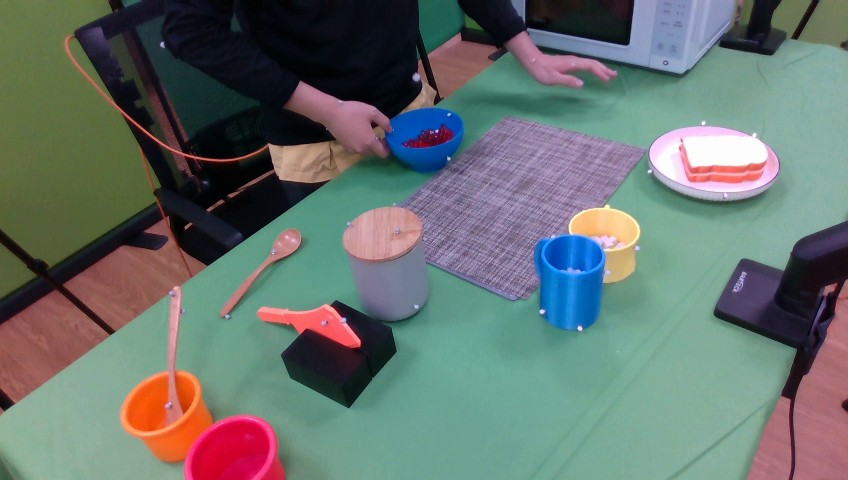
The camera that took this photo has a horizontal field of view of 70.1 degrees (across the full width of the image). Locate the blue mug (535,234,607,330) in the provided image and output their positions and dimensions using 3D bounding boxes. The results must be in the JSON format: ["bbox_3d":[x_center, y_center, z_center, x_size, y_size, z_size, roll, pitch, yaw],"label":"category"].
[{"bbox_3d":[0.191,0.048,0.824,0.082,0.106,0.115,-26,44,-21],"label":"blue mug"}]

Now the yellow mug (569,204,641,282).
[{"bbox_3d":[0.268,-0.005,0.904,0.099,0.064,0.130,7,42,15],"label":"yellow mug"}]

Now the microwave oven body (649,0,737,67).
[{"bbox_3d":[0.475,-0.602,1.411,0.438,0.261,0.327,23,50,32],"label":"microwave oven body"}]

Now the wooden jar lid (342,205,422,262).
[{"bbox_3d":[-0.055,-0.006,0.808,0.108,0.021,0.108,-6,41,6],"label":"wooden jar lid"}]

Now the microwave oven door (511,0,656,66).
[{"bbox_3d":[0.351,-0.540,1.350,0.353,0.245,0.039,24,50,31],"label":"microwave oven door"}]

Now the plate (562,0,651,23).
[{"bbox_3d":[0.440,-0.573,1.455,0.209,0.038,0.208,-6,43,6],"label":"plate"}]

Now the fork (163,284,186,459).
[{"bbox_3d":[-0.302,0.157,0.733,0.028,0.019,0.207,-4,84,16],"label":"fork"}]

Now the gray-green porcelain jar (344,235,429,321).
[{"bbox_3d":[-0.049,0.042,0.849,0.106,0.127,0.105,-4,41,4],"label":"gray-green porcelain jar"}]

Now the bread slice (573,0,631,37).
[{"bbox_3d":[0.429,-0.558,1.478,0.105,0.019,0.131,-27,69,-19],"label":"bread slice"}]

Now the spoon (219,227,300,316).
[{"bbox_3d":[-0.261,0.046,0.954,0.041,0.021,0.194,26,48,11],"label":"spoon"}]

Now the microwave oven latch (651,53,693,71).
[{"bbox_3d":[0.532,-0.386,1.301,0.078,0.029,0.030,27,52,34],"label":"microwave oven latch"}]

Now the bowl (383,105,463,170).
[{"bbox_3d":[0.002,-0.185,1.143,0.151,0.077,0.150,-4,41,4],"label":"bowl"}]

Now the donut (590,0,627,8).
[{"bbox_3d":[0.438,-0.587,1.433,0.099,0.048,0.098,-2,53,3],"label":"donut"}]

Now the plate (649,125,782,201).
[{"bbox_3d":[0.493,-0.128,1.036,0.207,0.039,0.206,-4,41,4],"label":"plate"}]

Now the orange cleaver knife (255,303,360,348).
[{"bbox_3d":[-0.161,0.115,0.813,0.210,0.077,0.012,-4,32,46],"label":"orange cleaver knife"}]
